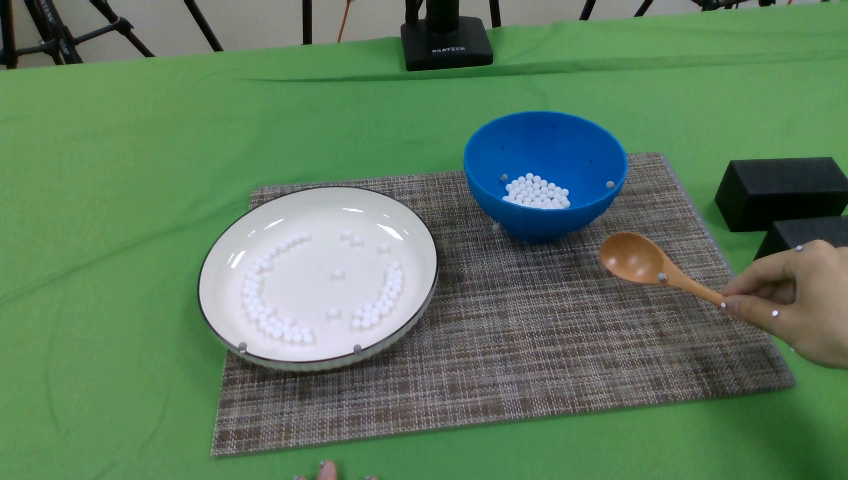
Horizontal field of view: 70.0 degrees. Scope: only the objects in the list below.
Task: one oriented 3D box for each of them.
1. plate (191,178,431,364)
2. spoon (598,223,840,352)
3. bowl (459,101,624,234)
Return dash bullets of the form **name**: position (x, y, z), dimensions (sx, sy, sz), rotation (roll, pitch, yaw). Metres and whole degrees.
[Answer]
- **plate**: position (-0.096, 0.026, 0.541), dimensions (0.208, 0.039, 0.205), rotation (-1, 47, 1)
- **spoon**: position (0.227, 0.038, 0.486), dimensions (0.192, 0.022, 0.041), rotation (32, 97, 35)
- **bowl**: position (0.108, -0.059, 0.584), dimensions (0.151, 0.077, 0.150), rotation (-1, 47, 1)
